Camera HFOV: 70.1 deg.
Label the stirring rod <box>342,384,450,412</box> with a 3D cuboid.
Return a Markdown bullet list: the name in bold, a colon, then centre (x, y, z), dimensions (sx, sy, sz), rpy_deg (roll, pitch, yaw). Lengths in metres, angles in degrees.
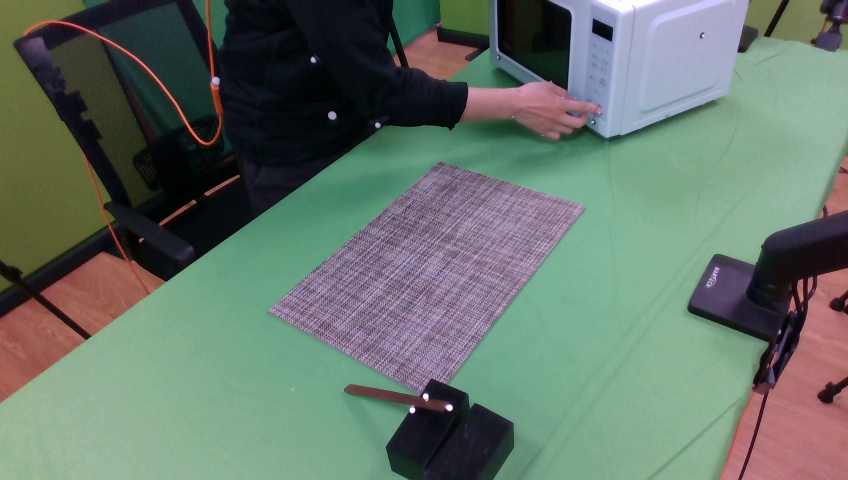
- **stirring rod**: centre (-0.038, 0.185, 0.714), dimensions (0.175, 0.006, 0.014), rpy_deg (-3, 22, 43)

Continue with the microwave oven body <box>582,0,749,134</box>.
- **microwave oven body**: centre (0.382, -0.445, 1.246), dimensions (0.327, 0.261, 0.437), rpy_deg (-22, 42, -16)

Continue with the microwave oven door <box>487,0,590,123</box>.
- **microwave oven door**: centre (0.232, -0.420, 1.231), dimensions (0.039, 0.245, 0.352), rpy_deg (-22, 43, -16)

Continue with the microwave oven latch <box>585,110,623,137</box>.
- **microwave oven latch**: centre (0.337, -0.222, 1.142), dimensions (0.030, 0.029, 0.078), rpy_deg (-20, 42, -14)
